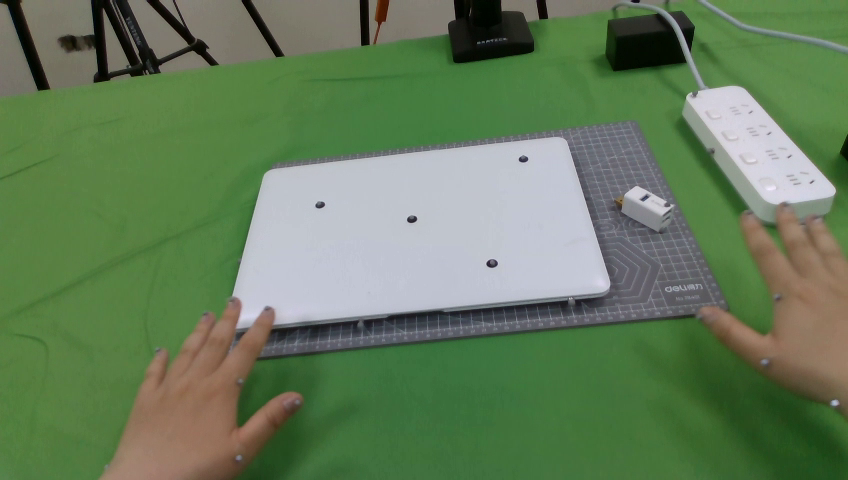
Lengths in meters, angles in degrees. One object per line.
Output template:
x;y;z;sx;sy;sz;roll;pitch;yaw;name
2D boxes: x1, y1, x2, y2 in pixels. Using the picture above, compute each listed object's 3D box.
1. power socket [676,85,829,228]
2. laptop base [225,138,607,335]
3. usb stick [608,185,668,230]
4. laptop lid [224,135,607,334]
0.342;-0.100;0.648;0.072;0.033;0.224;-8;43;0;power socket
-0.014;-0.011;0.629;0.354;0.023;0.233;-6;47;3;laptop base
0.212;-0.036;0.606;0.021;0.027;0.058;-33;45;-24;usb stick
-0.015;-0.017;0.619;0.356;0.013;0.239;-5;46;5;laptop lid
